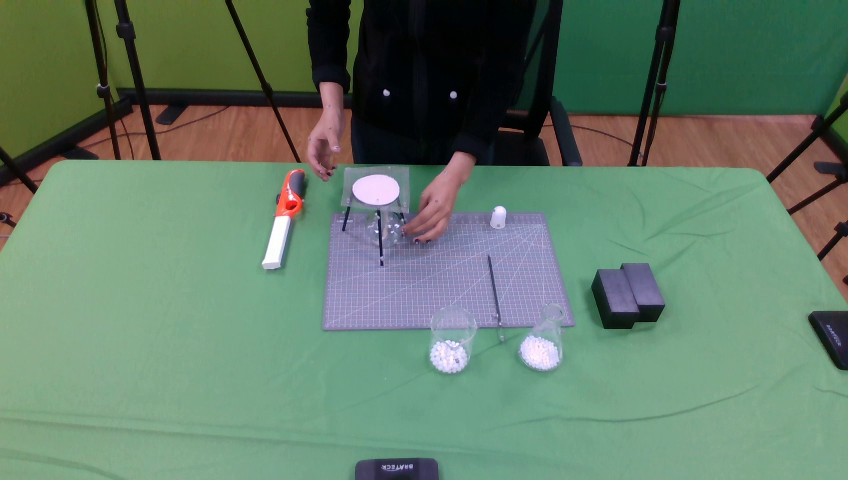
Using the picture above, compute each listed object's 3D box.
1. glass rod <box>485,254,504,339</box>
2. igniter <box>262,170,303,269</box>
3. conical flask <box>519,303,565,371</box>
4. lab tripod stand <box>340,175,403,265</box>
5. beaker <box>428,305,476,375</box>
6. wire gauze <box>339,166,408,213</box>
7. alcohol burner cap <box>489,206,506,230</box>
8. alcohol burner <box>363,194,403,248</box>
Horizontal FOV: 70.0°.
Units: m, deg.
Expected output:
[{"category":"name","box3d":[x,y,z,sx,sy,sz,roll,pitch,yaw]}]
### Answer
[{"category":"glass rod","box3d":[0.129,0.099,1.119,0.008,0.008,0.198,-1,46,-4]},{"category":"igniter","box3d":[-0.283,-0.050,1.222,0.057,0.025,0.275,-5,45,6]},{"category":"conical flask","box3d":[0.201,0.155,0.997,0.075,0.122,0.075,2,46,-2]},{"category":"lab tripod stand","box3d":[-0.094,-0.050,1.160,0.148,0.132,0.147,2,44,-2]},{"category":"beaker","box3d":[0.044,0.169,0.987,0.074,0.101,0.083,1,47,-3]},{"category":"wire gauze","box3d":[-0.091,-0.096,1.110,0.125,0.011,0.120,2,45,-3]},{"category":"alcohol burner cap","box3d":[0.152,-0.047,1.241,0.034,0.048,0.033,2,45,-2]},{"category":"alcohol burner","box3d":[-0.078,-0.042,1.167,0.078,0.119,0.077,3,45,-3]}]
